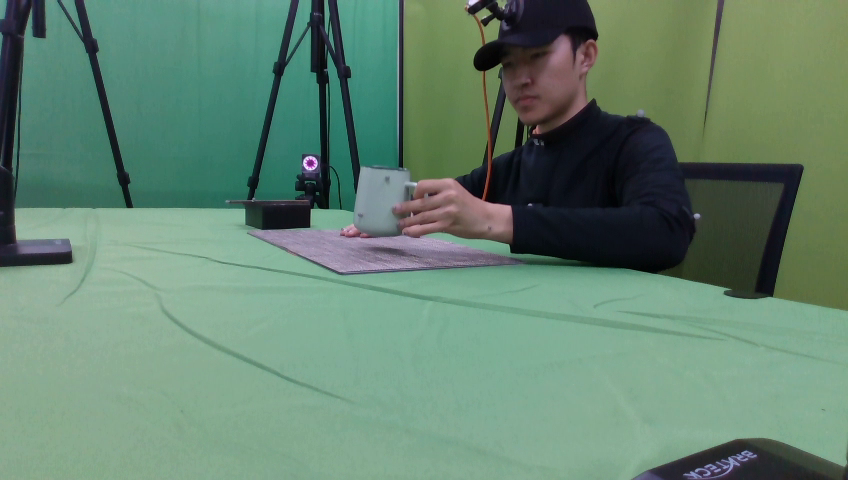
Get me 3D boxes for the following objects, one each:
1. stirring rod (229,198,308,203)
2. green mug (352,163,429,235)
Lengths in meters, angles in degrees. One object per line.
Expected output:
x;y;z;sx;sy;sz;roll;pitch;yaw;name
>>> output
-0.317;-0.081;1.246;0.177;0.006;0.014;-5;10;-43;stirring rod
-0.050;-0.063;0.949;0.125;0.105;0.093;10;11;24;green mug
